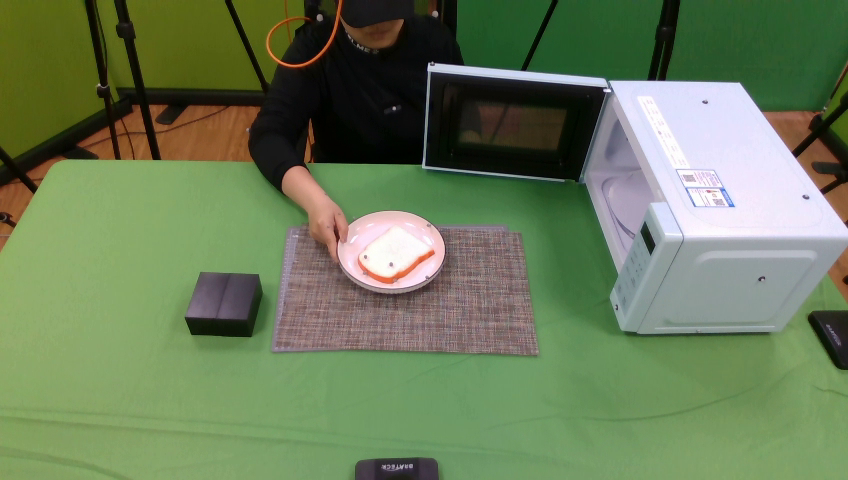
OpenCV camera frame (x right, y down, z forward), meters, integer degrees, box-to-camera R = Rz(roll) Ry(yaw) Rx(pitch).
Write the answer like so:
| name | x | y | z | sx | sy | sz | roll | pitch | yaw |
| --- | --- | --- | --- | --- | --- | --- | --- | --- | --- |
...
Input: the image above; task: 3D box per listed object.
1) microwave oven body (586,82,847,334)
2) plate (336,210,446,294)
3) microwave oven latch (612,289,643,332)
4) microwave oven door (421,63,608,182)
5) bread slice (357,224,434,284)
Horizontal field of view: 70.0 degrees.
| name | x | y | z | sx | sy | sz | roll | pitch | yaw |
| --- | --- | --- | --- | --- | --- | --- | --- | --- | --- |
| microwave oven body | 0.501 | -0.070 | 1.132 | 0.326 | 0.261 | 0.438 | -1 | 45 | -3 |
| plate | -0.062 | 0.026 | 1.153 | 0.209 | 0.038 | 0.208 | 3 | 46 | -2 |
| microwave oven latch | 0.357 | 0.124 | 1.068 | 0.030 | 0.029 | 0.078 | 0 | 45 | -3 |
| microwave oven door | 0.178 | -0.241 | 1.268 | 0.356 | 0.245 | 0.039 | 5 | 46 | 1 |
| bread slice | -0.059 | 0.028 | 1.153 | 0.104 | 0.019 | 0.131 | 34 | 53 | 26 |
